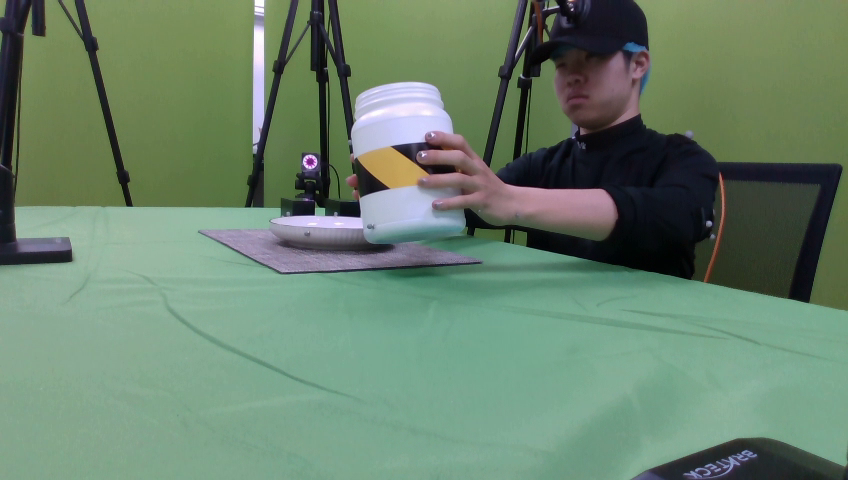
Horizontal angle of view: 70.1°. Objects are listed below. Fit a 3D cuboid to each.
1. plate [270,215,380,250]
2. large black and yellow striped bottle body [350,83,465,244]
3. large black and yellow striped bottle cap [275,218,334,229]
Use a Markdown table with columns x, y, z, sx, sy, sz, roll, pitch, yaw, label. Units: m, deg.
| x | y | z | sx | sy | sz | roll | pitch | yaw | label |
| --- | --- | --- | --- | --- | --- | --- | --- | --- | --- |
| -0.145 | -0.013 | 0.991 | 0.208 | 0.039 | 0.207 | 2 | 7 | 0 | plate |
| -0.023 | -0.093 | 0.767 | 0.131 | 0.183 | 0.131 | -7 | -4 | 0 | large black and yellow striped bottle body |
| -0.236 | -0.033 | 1.197 | 0.115 | 0.019 | 0.115 | 2 | 3 | 0 | large black and yellow striped bottle cap |
